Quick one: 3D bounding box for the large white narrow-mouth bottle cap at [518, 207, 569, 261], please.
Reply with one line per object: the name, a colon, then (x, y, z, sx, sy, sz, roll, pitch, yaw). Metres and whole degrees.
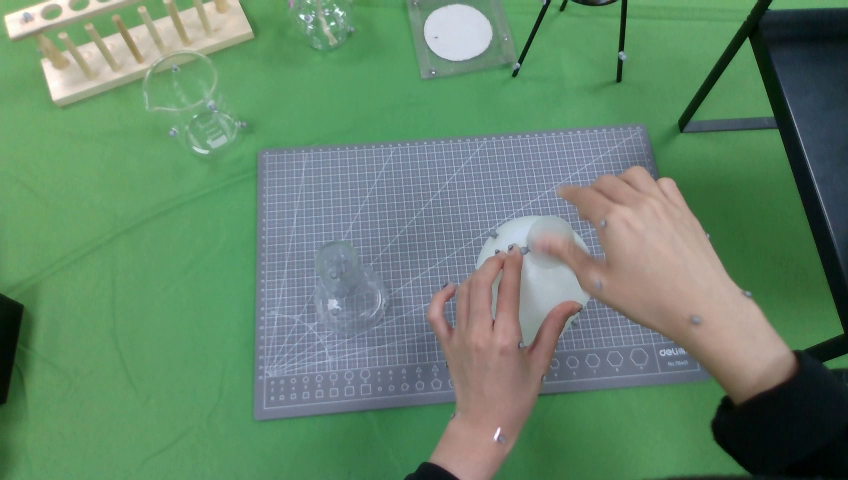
large white narrow-mouth bottle cap: (0.090, -0.004, 0.458, 0.038, 0.024, 0.037, 0, 68, 1)

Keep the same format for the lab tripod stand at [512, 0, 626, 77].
lab tripod stand: (0.176, -0.259, 0.691, 0.148, 0.132, 0.147, 1, 67, -2)

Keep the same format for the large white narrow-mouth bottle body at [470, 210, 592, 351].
large white narrow-mouth bottle body: (0.094, 0.031, 0.539, 0.102, 0.196, 0.101, -1, 67, 2)

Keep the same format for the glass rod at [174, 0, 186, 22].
glass rod: (-0.287, -0.310, 0.657, 0.008, 0.201, 0.008, 2, 66, -4)

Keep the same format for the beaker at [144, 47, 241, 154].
beaker: (-0.247, -0.144, 0.656, 0.073, 0.101, 0.084, 40, 73, 15)

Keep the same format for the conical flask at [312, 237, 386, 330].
conical flask: (-0.076, 0.036, 0.572, 0.075, 0.122, 0.075, 0, 68, 0)

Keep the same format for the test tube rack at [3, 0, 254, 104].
test tube rack: (-0.333, -0.249, 0.704, 0.242, 0.086, 0.066, -23, 70, -10)

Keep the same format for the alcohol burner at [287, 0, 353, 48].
alcohol burner: (-0.123, -0.284, 0.707, 0.078, 0.120, 0.077, 1, 66, -1)

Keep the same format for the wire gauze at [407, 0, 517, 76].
wire gauze: (0.045, -0.266, 0.758, 0.121, 0.011, 0.124, -9, 68, -6)
